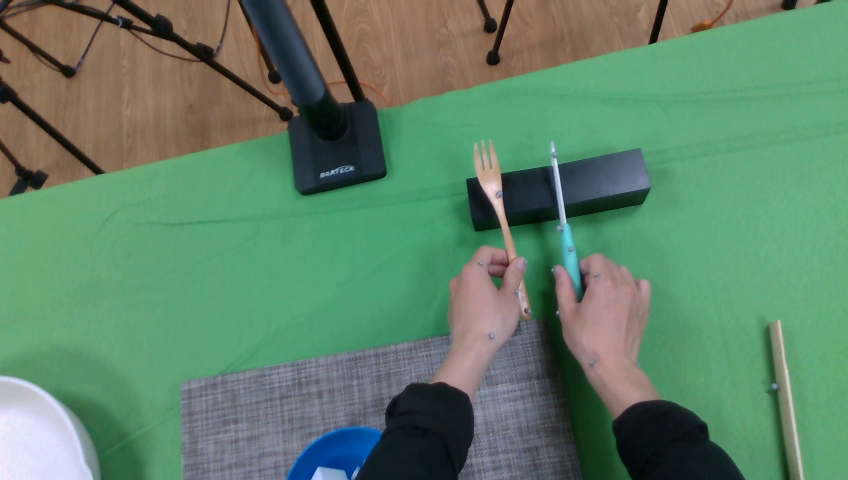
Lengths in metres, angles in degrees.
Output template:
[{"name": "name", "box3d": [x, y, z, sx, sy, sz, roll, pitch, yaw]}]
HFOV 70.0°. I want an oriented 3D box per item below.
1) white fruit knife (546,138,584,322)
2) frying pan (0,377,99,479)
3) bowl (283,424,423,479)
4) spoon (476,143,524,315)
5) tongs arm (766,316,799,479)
[{"name": "white fruit knife", "box3d": [0.154, -0.011, 0.671, 0.016, 0.027, 0.207, -9, 88, -1]}, {"name": "frying pan", "box3d": [-0.491, 0.397, 0.649, 0.306, 0.103, 0.483, -12, 63, 6]}, {"name": "bowl", "box3d": [-0.066, 0.270, 0.630, 0.151, 0.077, 0.150, -3, 72, 8]}, {"name": "spoon", "box3d": [0.089, -0.013, 0.670, 0.042, 0.021, 0.193, -5, 80, -23]}, {"name": "tongs arm", "box3d": [0.376, 0.266, 0.592, 0.028, 0.028, 0.385, -3, 73, 6]}]
